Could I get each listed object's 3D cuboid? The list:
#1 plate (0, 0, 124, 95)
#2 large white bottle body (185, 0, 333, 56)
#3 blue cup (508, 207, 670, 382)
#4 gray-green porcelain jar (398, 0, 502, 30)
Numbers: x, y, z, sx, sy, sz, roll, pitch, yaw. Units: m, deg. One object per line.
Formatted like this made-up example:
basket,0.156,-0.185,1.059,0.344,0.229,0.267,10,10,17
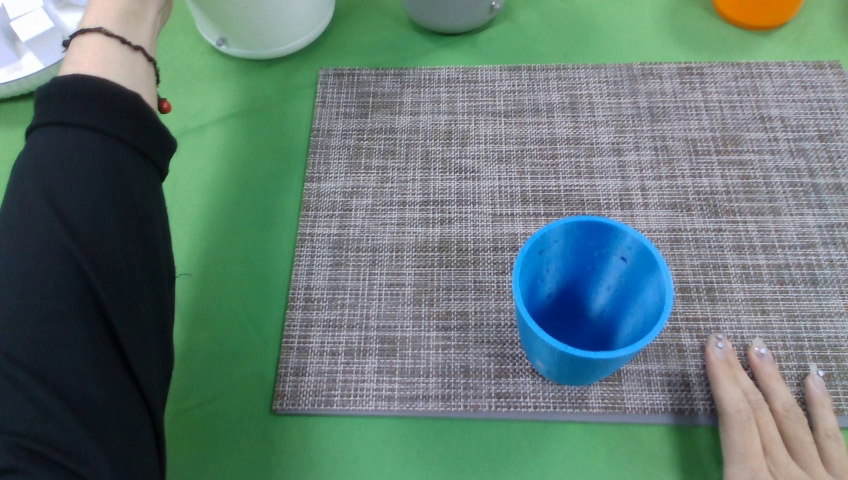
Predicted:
plate,-0.378,-0.210,0.563,0.207,0.039,0.206,-1,62,2
large white bottle body,-0.154,-0.261,0.495,0.130,0.186,0.129,-1,62,2
blue cup,0.092,0.044,0.369,0.092,0.101,0.092,-2,62,4
gray-green porcelain jar,0.022,-0.256,0.518,0.106,0.127,0.105,-1,62,3
